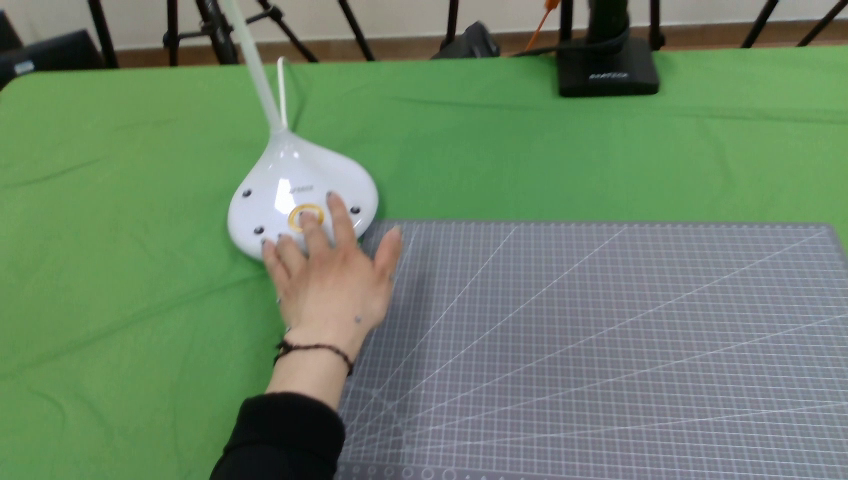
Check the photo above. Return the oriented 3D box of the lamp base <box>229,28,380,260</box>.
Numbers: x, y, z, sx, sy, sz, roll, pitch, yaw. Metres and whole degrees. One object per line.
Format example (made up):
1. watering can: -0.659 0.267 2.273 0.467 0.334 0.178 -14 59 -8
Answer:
1. lamp base: -0.139 -0.100 0.594 0.161 0.182 0.177 -21 46 -12
